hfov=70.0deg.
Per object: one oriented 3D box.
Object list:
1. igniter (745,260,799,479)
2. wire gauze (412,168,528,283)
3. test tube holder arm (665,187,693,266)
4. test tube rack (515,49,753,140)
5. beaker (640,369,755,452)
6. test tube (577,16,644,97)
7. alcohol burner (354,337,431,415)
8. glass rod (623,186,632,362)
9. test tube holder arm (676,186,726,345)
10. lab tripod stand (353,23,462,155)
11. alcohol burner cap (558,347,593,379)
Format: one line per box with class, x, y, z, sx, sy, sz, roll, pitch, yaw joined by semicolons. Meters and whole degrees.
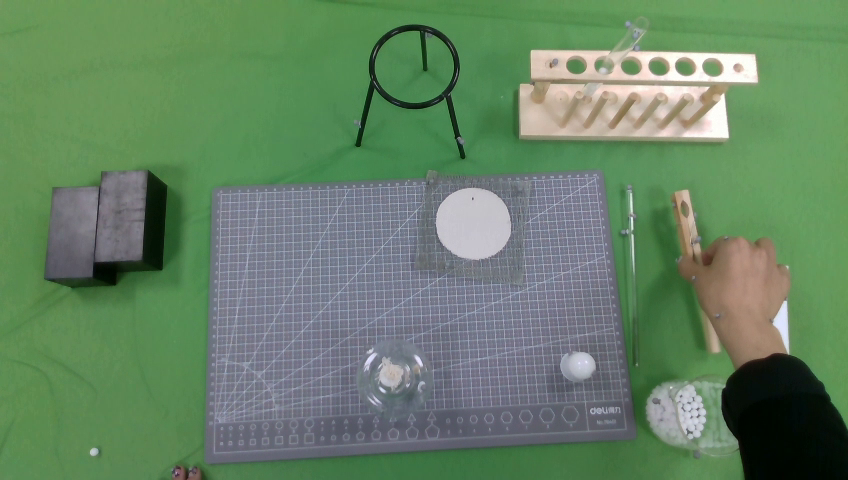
igniter;0.367;0.157;0.643;0.057;0.025;0.275;7;77;-9
wire gauze;0.054;-0.019;0.687;0.125;0.011;0.121;8;78;0
test tube holder arm;0.283;-0.015;0.667;0.010;0.015;0.087;-13;83;5
test tube rack;0.231;-0.162;0.686;0.242;0.085;0.066;1;76;-1
beaker;0.263;0.166;0.603;0.084;0.101;0.074;29;77;7
test tube;0.193;-0.189;0.640;0.017;0.150;0.017;1;78;-6
alcohol burner;-0.032;0.132;0.596;0.078;0.119;0.077;0;75;1
glass rod;0.228;0.036;0.679;0.008;0.008;0.199;3;79;0
test tube holder arm;0.300;0.027;0.662;0.013;0.015;0.178;-16;83;5
lab tripod stand;-0.015;-0.156;0.656;0.148;0.132;0.147;0;78;0
alcohol burner cap;0.161;0.128;0.636;0.034;0.048;0.033;0;77;0
